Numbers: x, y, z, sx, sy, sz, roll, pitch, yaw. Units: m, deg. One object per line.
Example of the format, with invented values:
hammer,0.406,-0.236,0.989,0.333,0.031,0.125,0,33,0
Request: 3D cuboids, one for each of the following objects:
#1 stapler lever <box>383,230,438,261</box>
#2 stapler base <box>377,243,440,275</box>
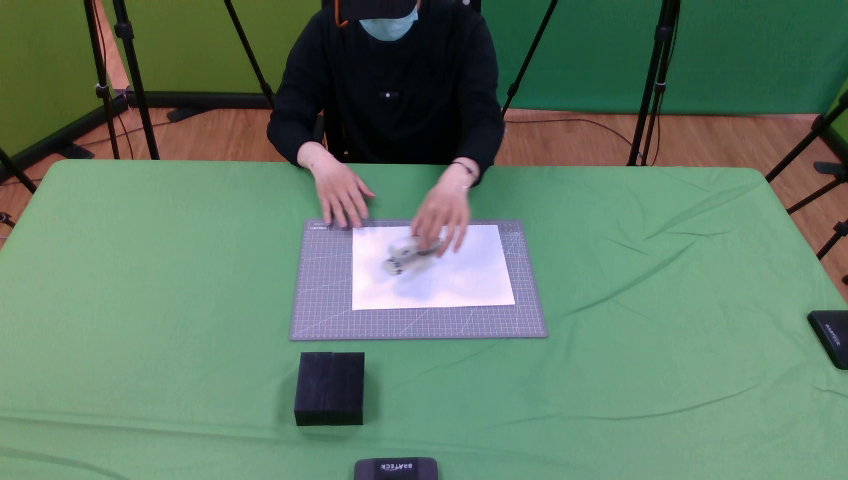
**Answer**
stapler lever,-0.023,0.004,1.107,0.118,0.040,0.026,-24,51,-36
stapler base,-0.027,0.025,1.122,0.130,0.024,0.041,-25,52,-36
